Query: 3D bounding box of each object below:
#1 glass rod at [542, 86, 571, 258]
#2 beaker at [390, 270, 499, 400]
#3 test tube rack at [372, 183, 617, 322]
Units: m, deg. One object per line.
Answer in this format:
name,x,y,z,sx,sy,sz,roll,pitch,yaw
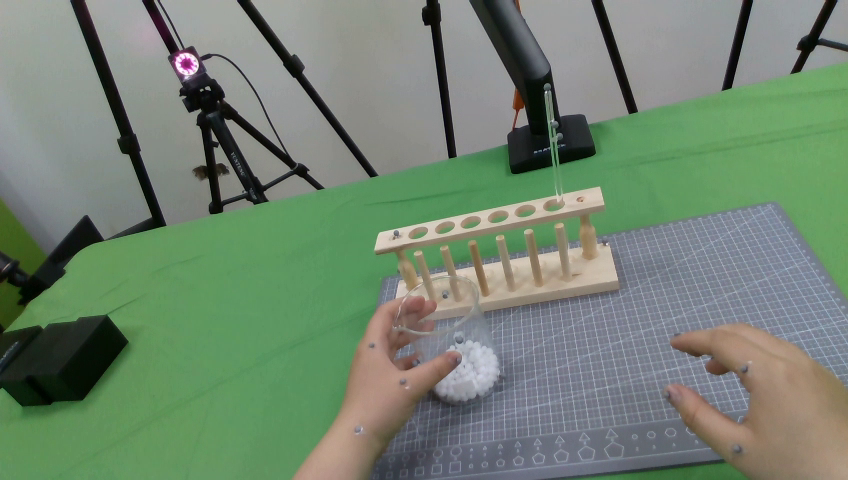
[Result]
glass rod,0.132,-0.058,0.592,0.008,0.202,0.008,-11,37,9
beaker,0.022,0.090,0.549,0.084,0.101,0.073,-23,33,-3
test tube rack,0.071,0.017,0.641,0.242,0.086,0.066,-11,35,14
